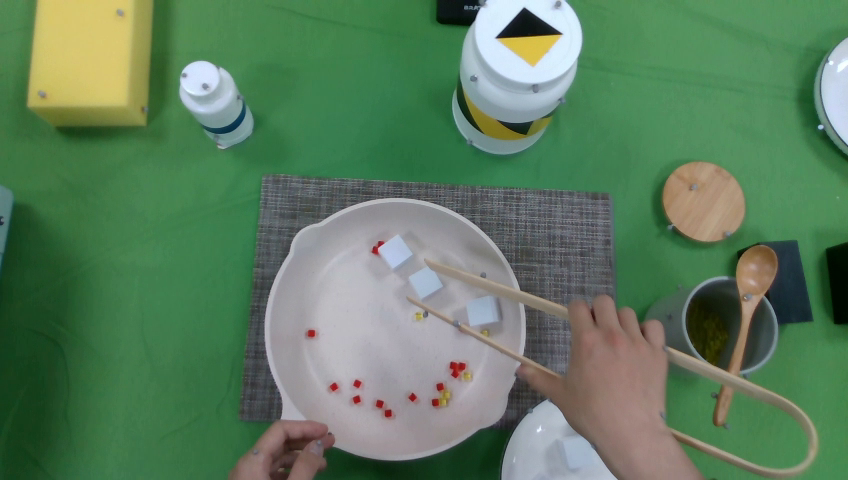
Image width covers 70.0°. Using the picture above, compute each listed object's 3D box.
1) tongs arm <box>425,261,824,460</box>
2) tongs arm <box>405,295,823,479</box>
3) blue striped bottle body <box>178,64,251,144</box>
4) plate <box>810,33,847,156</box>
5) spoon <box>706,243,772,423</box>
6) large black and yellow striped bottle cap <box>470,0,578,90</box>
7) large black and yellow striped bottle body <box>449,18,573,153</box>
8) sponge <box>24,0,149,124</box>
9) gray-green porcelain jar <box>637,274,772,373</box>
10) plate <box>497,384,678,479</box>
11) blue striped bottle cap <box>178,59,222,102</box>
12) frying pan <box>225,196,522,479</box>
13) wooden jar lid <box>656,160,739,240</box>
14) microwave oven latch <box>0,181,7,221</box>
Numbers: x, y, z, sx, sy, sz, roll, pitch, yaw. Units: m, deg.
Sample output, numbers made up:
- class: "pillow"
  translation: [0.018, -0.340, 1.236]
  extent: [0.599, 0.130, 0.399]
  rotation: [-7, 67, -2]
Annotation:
- class: "tongs arm"
  translation: [0.153, 0.091, 0.557]
  extent: [0.384, 0.028, 0.028]
  rotation: [22, 68, 33]
- class: "tongs arm"
  translation: [0.139, 0.115, 0.550]
  extent: [0.381, 0.027, 0.050]
  rotation: [26, 73, 34]
- class: "blue striped bottle body"
  translation: [-0.252, -0.167, 0.727]
  extent: [0.063, 0.121, 0.063]
  rotation: [1, 77, -3]
- class: "plate"
  translation: [0.625, -0.189, 0.827]
  extent: [0.209, 0.038, 0.208]
  rotation: [1, 78, -3]
- class: "spoon"
  translation: [0.323, 0.096, 0.632]
  extent: [0.041, 0.021, 0.193]
  rotation: [19, 81, -1]
- class: "large black and yellow striped bottle cap"
  translation: [0.106, -0.216, 0.642]
  extent: [0.115, 0.019, 0.114]
  rotation: [1, 79, -3]
- class: "large black and yellow striped bottle body"
  translation: [0.101, -0.196, 0.724]
  extent: [0.131, 0.184, 0.130]
  rotation: [1, 77, -3]
- class: "sponge"
  translation: [-0.421, -0.254, 0.766]
  extent: [0.118, 0.061, 0.206]
  rotation: [-2, 79, -4]
- class: "gray-green porcelain jar"
  translation: [0.315, 0.101, 0.701]
  extent: [0.106, 0.127, 0.105]
  rotation: [1, 77, -3]
- class: "plate"
  translation: [0.185, 0.271, 0.701]
  extent: [0.208, 0.039, 0.206]
  rotation: [1, 79, -3]
- class: "blue striped bottle cap"
  translation: [-0.250, -0.179, 0.677]
  extent: [0.044, 0.021, 0.044]
  rotation: [1, 79, -3]
- class: "frying pan"
  translation: [-0.106, 0.166, 0.670]
  extent: [0.306, 0.103, 0.487]
  rotation: [43, 71, 7]
- class: "wooden jar lid"
  translation: [0.355, -0.051, 0.791]
  extent: [0.108, 0.021, 0.108]
  rotation: [1, 79, -3]
- class: "microwave oven latch"
  translation: [-0.512, -0.033, 0.706]
  extent: [0.030, 0.029, 0.079]
  rotation: [6, 78, -2]
